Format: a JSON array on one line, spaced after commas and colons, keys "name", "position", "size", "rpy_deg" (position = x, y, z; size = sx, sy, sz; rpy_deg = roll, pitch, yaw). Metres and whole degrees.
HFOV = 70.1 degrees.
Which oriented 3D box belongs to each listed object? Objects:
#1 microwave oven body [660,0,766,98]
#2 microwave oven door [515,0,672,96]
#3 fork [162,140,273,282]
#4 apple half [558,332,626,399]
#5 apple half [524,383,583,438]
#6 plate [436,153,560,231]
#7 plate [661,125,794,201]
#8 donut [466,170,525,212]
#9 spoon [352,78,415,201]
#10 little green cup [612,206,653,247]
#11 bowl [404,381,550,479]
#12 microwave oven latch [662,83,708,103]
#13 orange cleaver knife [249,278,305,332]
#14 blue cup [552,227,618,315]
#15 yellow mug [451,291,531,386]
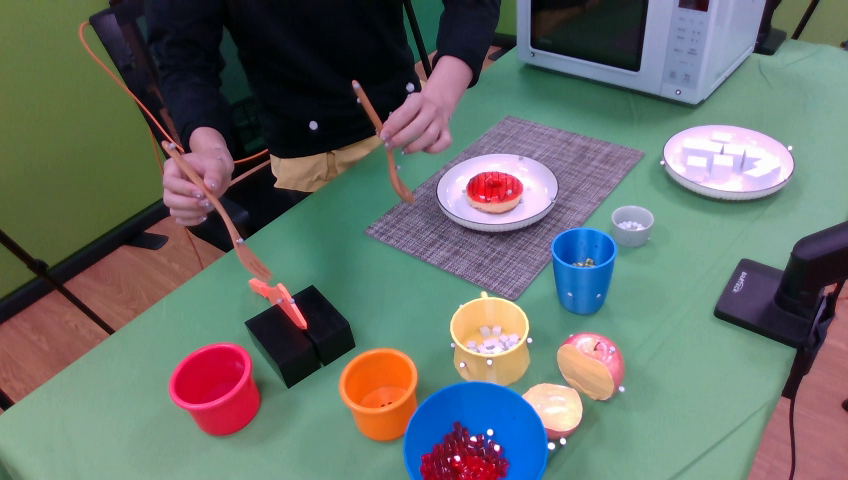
[{"name": "microwave oven body", "position": [0.473, -0.513, 1.317], "size": [0.438, 0.261, 0.327], "rpy_deg": [26, 51, 34]}, {"name": "microwave oven door", "position": [0.344, -0.455, 1.259], "size": [0.353, 0.245, 0.039], "rpy_deg": [26, 51, 33]}, {"name": "fork", "position": [-0.250, -0.032, 0.737], "size": [0.018, 0.208, 0.028], "rpy_deg": [-20, 22, 24]}, {"name": "apple half", "position": [0.209, 0.147, 0.731], "size": [0.080, 0.075, 0.053], "rpy_deg": [26, 46, 38]}, {"name": "apple half", "position": [0.149, 0.204, 0.704], "size": [0.081, 0.033, 0.081], "rpy_deg": [-10, 25, 5]}, {"name": "plate", "position": [0.125, -0.078, 1.029], "size": [0.209, 0.038, 0.208], "rpy_deg": [-4, 40, 4]}, {"name": "plate", "position": [0.513, -0.128, 1.035], "size": [0.207, 0.039, 0.206], "rpy_deg": [-4, 40, 4]}, {"name": "donut", "position": [0.121, -0.083, 1.019], "size": [0.099, 0.048, 0.098], "rpy_deg": [-4, 38, 4]}, {"name": "spoon", "position": [-0.050, -0.125, 0.780], "size": [0.021, 0.195, 0.041], "rpy_deg": [-18, 40, 4]}, {"name": "little green cup", "position": [0.321, -0.019, 0.936], "size": [0.061, 0.039, 0.061], "rpy_deg": [-4, 40, 4]}, {"name": "bowl", "position": [0.058, 0.235, 0.645], "size": [0.151, 0.077, 0.150], "rpy_deg": [-4, 39, 4]}, {"name": "microwave oven latch", "position": [0.518, -0.297, 1.205], "size": [0.078, 0.029, 0.030], "rpy_deg": [29, 53, 36]}, {"name": "orange cleaver knife", "position": [-0.210, 0.089, 0.856], "size": [0.012, 0.077, 0.210], "rpy_deg": [-28, 14, -25]}, {"name": "blue cup", "position": [0.218, 0.047, 0.825], "size": [0.092, 0.101, 0.092], "rpy_deg": [-6, 39, 5]}, {"name": "yellow mug", "position": [0.086, 0.120, 0.786], "size": [0.100, 0.064, 0.130], "rpy_deg": [-7, 39, 1]}]
